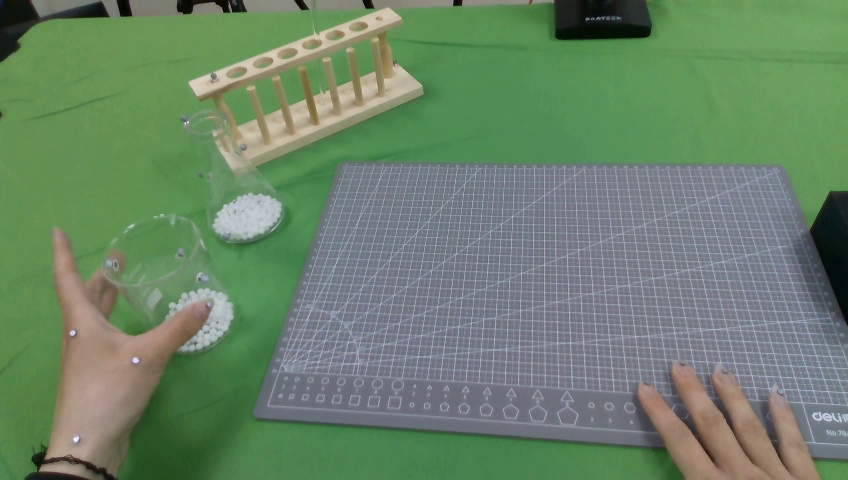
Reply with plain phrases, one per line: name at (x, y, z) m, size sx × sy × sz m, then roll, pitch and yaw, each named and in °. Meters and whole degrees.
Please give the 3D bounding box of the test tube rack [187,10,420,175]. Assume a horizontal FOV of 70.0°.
test tube rack at (-0.127, -0.170, 0.685) m, size 0.242 × 0.086 × 0.066 m, roll -27°, pitch 50°, yaw -17°

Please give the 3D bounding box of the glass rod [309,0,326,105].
glass rod at (-0.119, -0.238, 0.656) m, size 0.008 × 0.201 × 0.008 m, roll 0°, pitch 40°, yaw 0°

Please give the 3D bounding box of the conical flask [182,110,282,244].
conical flask at (-0.184, -0.061, 0.567) m, size 0.075 × 0.123 × 0.074 m, roll -3°, pitch 47°, yaw 4°

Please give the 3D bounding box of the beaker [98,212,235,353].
beaker at (-0.203, 0.037, 0.495) m, size 0.074 × 0.101 × 0.083 m, roll -1°, pitch 47°, yaw 6°
